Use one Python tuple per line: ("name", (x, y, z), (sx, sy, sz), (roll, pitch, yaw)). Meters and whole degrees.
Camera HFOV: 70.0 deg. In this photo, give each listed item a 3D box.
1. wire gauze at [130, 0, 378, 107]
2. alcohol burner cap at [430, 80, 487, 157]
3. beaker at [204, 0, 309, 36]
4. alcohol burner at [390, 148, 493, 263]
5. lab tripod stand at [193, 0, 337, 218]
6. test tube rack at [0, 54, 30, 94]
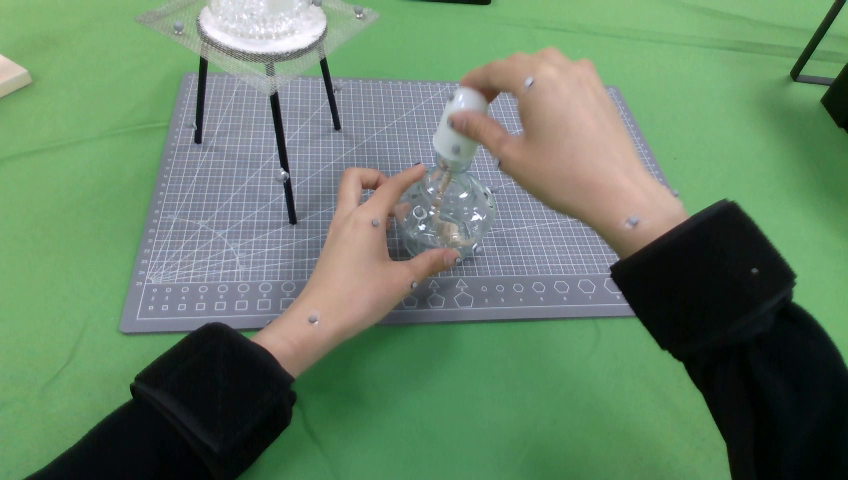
("wire gauze", (-0.115, -0.154, 0.424), (0.124, 0.011, 0.121), (32, 55, 13))
("alcohol burner cap", (0.024, -0.081, 0.395), (0.034, 0.048, 0.033), (8, 48, -9))
("beaker", (-0.113, -0.191, 0.390), (0.073, 0.101, 0.084), (37, 56, 20))
("alcohol burner", (0.016, -0.038, 0.444), (0.078, 0.120, 0.077), (5, 47, -6))
("lab tripod stand", (-0.120, -0.112, 0.473), (0.149, 0.132, 0.147), (6, 49, -6))
("test tube rack", (-0.449, -0.118, 0.463), (0.066, 0.086, 0.241), (30, 51, 16))
